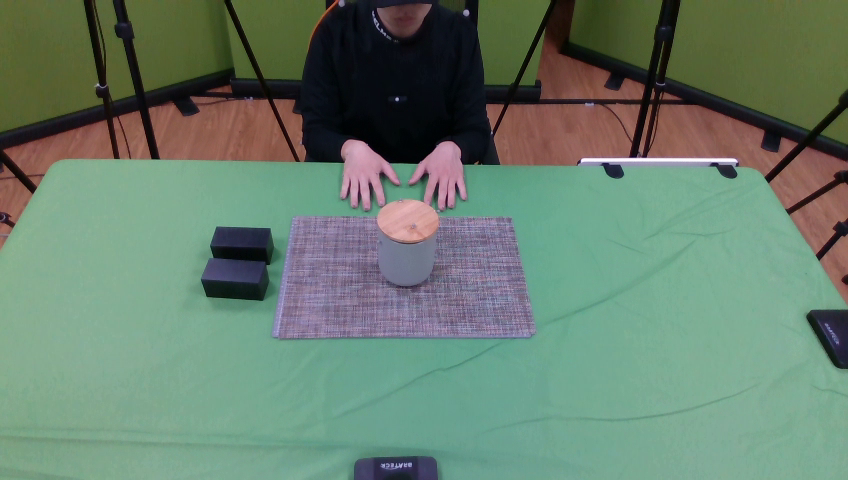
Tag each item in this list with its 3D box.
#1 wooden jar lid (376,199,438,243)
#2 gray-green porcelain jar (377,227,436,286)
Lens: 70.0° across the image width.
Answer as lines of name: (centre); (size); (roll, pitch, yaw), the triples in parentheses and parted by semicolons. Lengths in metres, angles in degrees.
wooden jar lid: (-0.029, -0.030, 1.059); (0.108, 0.021, 0.107); (2, 43, -2)
gray-green porcelain jar: (-0.033, 0.014, 1.106); (0.106, 0.127, 0.105); (2, 46, -2)
